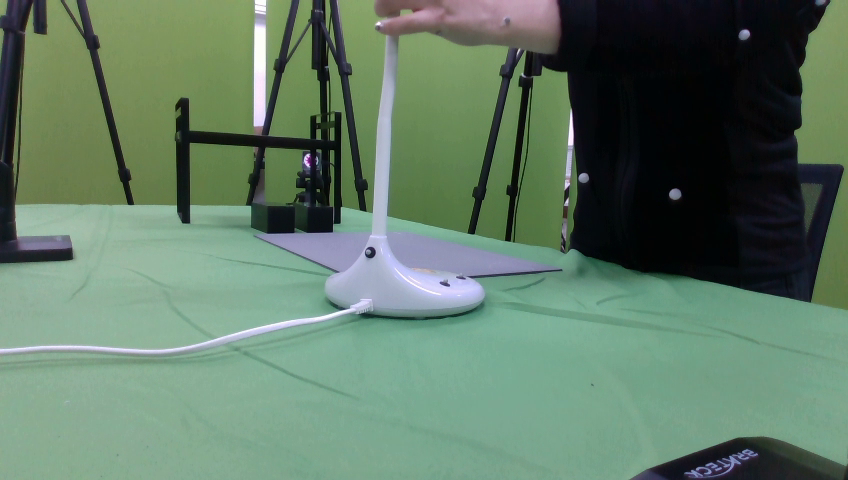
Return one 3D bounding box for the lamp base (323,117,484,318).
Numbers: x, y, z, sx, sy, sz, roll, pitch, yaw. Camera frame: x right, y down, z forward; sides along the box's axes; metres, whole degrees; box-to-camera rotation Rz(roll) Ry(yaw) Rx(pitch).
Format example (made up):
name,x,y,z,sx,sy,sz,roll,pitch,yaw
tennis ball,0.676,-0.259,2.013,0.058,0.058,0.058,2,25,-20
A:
name,x,y,z,sx,sy,sz,roll,pitch,yaw
lamp base,-0.021,-0.025,0.582,0.160,0.180,0.179,4,10,16
